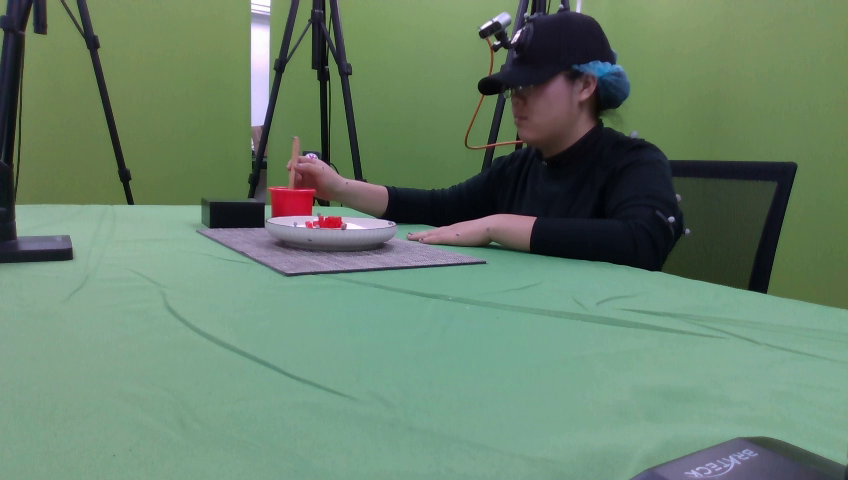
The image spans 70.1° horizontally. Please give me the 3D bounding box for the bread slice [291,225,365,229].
[{"bbox_3d":[-0.154,-0.012,0.973,0.132,0.019,0.104,-1,8,-31],"label":"bread slice"}]

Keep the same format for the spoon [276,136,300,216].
[{"bbox_3d":[-0.274,-0.129,1.255,0.042,0.193,0.021,10,-15,-18],"label":"spoon"}]

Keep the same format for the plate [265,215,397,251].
[{"bbox_3d":[-0.147,-0.012,0.963,0.209,0.038,0.209,3,7,0],"label":"plate"}]
